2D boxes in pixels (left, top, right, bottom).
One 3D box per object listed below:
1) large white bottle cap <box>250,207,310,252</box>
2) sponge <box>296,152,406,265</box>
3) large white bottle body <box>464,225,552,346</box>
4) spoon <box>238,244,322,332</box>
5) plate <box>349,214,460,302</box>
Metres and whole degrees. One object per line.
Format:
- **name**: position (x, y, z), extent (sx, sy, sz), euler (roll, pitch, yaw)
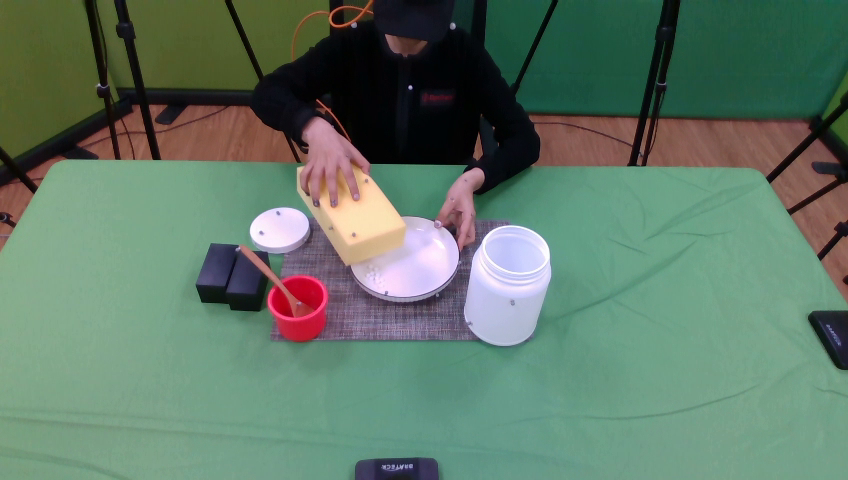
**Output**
- **large white bottle cap**: position (-0.284, -0.023, 1.197), extent (0.115, 0.018, 0.114), euler (1, 46, 0)
- **sponge**: position (-0.138, -0.063, 1.117), extent (0.118, 0.061, 0.205), euler (-22, 58, -27)
- **large white bottle body**: position (0.141, 0.076, 1.017), extent (0.131, 0.185, 0.130), euler (2, 46, -2)
- **spoon**: position (-0.241, 0.079, 1.015), extent (0.194, 0.021, 0.041), euler (53, 52, -15)
- **plate**: position (-0.037, 0.037, 1.136), extent (0.209, 0.038, 0.208), euler (-1, 47, 1)
